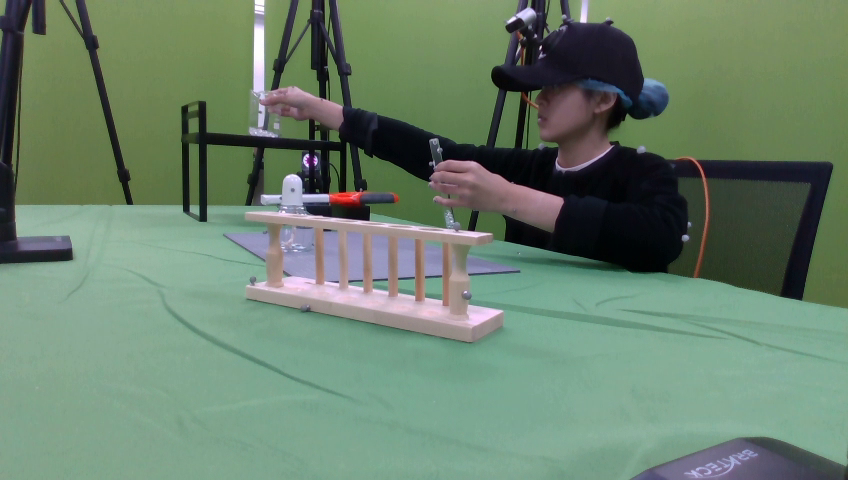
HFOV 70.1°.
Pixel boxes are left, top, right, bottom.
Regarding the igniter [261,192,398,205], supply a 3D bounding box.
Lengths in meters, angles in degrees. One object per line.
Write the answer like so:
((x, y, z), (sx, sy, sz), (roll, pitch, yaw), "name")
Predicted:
((-0.185, -0.083, 1.217), (0.278, 0.025, 0.057), (-2, 12, -24), "igniter")

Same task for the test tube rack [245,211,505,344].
((-0.049, 0.025, 0.547), (0.241, 0.085, 0.067), (7, 8, 29), "test tube rack")

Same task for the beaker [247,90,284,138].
((-0.358, -0.281, 1.356), (0.074, 0.100, 0.084), (7, 9, 11), "beaker")

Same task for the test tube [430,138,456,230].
((0.031, -0.088, 0.964), (0.017, 0.150, 0.017), (-11, 4, 1), "test tube")

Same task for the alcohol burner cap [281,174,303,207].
((-0.193, -0.072, 0.884), (0.034, 0.048, 0.034), (1, 5, 0), "alcohol burner cap")

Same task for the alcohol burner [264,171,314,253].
((-0.194, -0.042, 0.888), (0.078, 0.119, 0.078), (3, 5, 0), "alcohol burner")
